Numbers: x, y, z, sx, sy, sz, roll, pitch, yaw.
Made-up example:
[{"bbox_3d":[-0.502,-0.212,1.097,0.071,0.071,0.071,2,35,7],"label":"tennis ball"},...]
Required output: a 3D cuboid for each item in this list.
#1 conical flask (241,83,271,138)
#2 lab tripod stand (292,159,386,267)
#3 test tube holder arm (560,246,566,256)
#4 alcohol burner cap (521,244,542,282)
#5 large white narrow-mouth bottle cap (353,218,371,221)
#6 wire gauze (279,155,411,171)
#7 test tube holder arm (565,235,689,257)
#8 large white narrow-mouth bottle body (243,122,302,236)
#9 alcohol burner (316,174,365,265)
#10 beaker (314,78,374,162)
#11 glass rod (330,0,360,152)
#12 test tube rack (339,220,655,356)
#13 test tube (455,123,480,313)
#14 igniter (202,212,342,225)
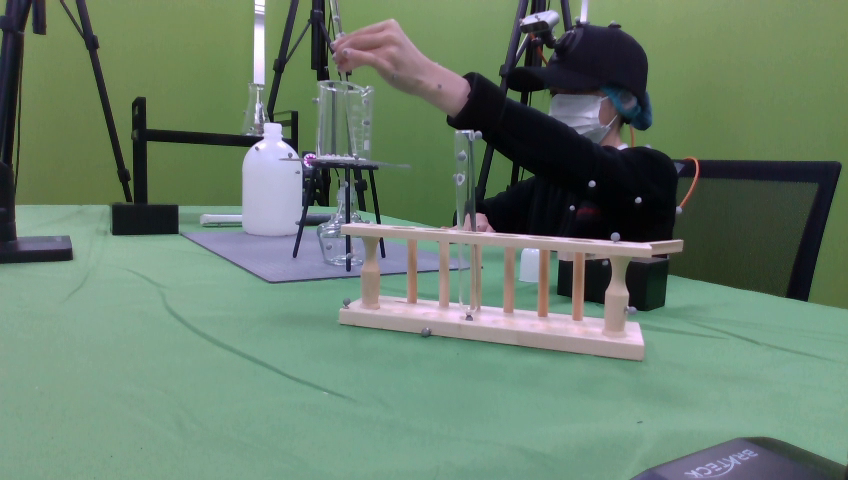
[{"bbox_3d":[-0.384,-0.297,1.393,0.075,0.122,0.075,2,7,0],"label":"conical flask"},{"bbox_3d":[-0.105,-0.039,0.797,0.148,0.131,0.148,2,5,0],"label":"lab tripod stand"},{"bbox_3d":[0.173,0.007,0.611,0.088,0.015,0.010,-3,11,-29],"label":"test tube holder arm"},{"bbox_3d":[0.136,0.026,0.741,0.034,0.048,0.034,1,6,0],"label":"alcohol burner cap"},{"bbox_3d":[-0.121,-0.029,1.184,0.038,0.024,0.037,2,8,0],"label":"large white narrow-mouth bottle cap"},{"bbox_3d":[-0.103,-0.103,0.785,0.121,0.011,0.126,11,8,42],"label":"wire gauze"},{"bbox_3d":[0.216,0.006,0.629,0.179,0.015,0.013,-3,11,-30],"label":"test tube holder arm"},{"bbox_3d":[-0.264,-0.109,1.061,0.102,0.194,0.102,2,8,0],"label":"large white narrow-mouth bottle body"},{"bbox_3d":[-0.102,-0.028,0.790,0.078,0.119,0.078,0,6,0],"label":"alcohol burner"},{"bbox_3d":[-0.101,-0.150,0.773,0.074,0.100,0.083,-2,8,-40],"label":"beaker"},{"bbox_3d":[-0.100,-0.210,0.769,0.008,0.200,0.008,-7,18,3],"label":"glass rod"},{"bbox_3d":[0.056,0.032,0.495,0.242,0.085,0.067,4,7,15],"label":"test tube rack"},{"bbox_3d":[0.034,-0.016,0.476,0.017,0.150,0.017,-2,9,1],"label":"test tube"},{"bbox_3d":[-0.298,-0.043,1.216,0.278,0.025,0.057,-3,-2,-32],"label":"igniter"}]
